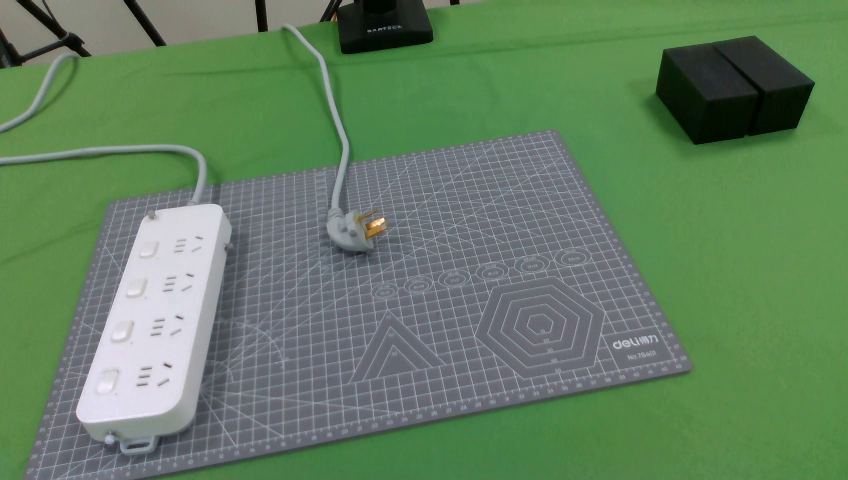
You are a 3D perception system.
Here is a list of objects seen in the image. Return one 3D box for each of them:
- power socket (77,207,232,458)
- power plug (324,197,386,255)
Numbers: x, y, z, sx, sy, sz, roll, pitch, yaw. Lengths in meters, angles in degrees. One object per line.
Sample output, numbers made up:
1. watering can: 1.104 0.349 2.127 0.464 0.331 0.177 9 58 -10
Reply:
1. power socket: -0.198 0.054 0.466 0.072 0.033 0.224 -6 44 -1
2. power plug: -0.062 -0.021 0.518 0.052 0.035 0.072 -20 63 9
